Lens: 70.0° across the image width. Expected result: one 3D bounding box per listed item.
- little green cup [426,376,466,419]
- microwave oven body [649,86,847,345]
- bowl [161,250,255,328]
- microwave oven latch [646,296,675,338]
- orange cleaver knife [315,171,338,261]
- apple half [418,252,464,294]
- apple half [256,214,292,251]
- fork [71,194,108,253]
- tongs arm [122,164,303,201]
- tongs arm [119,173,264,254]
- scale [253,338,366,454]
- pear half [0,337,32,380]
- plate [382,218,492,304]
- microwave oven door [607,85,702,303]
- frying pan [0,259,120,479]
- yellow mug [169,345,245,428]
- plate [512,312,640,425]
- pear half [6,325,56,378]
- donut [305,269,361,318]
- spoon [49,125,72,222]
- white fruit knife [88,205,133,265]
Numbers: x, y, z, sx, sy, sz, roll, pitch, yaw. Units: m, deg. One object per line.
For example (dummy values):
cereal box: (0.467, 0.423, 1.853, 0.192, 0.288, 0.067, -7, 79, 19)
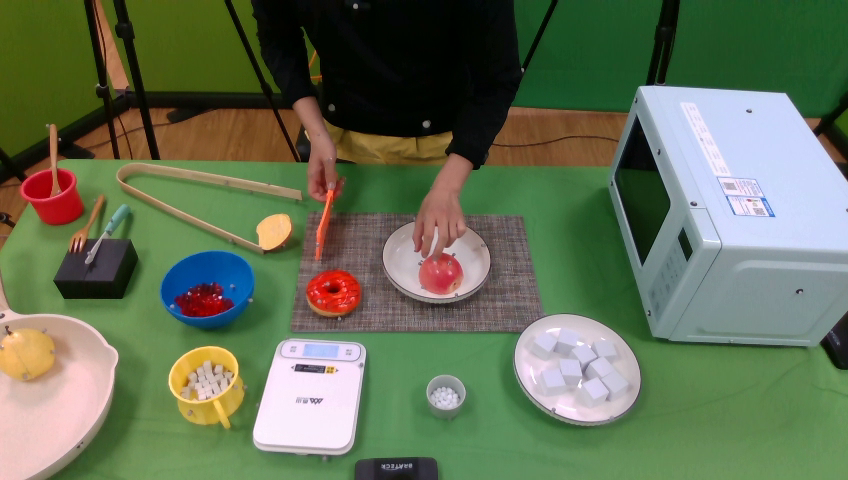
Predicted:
little green cup: (0.033, 0.248, 0.950, 0.061, 0.039, 0.061, 2, 46, -2)
microwave oven body: (0.568, -0.053, 1.118, 0.326, 0.261, 0.439, 2, 45, -1)
bowl: (-0.362, 0.098, 1.039, 0.151, 0.077, 0.150, 2, 45, -2)
microwave oven latch: (0.412, 0.134, 1.061, 0.030, 0.029, 0.078, 4, 45, 1)
orange cleaver knife: (-0.192, -0.051, 1.190, 0.012, 0.077, 0.210, 9, 46, -3)
apple half: (0.033, 0.055, 1.109, 0.081, 0.053, 0.074, -28, 57, -28)
apple half: (-0.285, -0.011, 1.176, 0.081, 0.033, 0.081, -10, 60, 18)
fork: (-0.634, -0.036, 1.158, 0.028, 0.019, 0.206, -8, 31, -8)
tongs arm: (-0.444, -0.113, 1.268, 0.384, 0.026, 0.050, 12, 50, 8)
tongs arm: (-0.474, -0.054, 1.213, 0.386, 0.028, 0.028, 23, 56, 18)
scale: (-0.175, 0.236, 0.951, 0.149, 0.032, 0.199, 4, 45, -1)
pear half: (-0.631, 0.184, 0.921, 0.070, 0.088, 0.031, 29, 49, 19)
plate: (0.023, 0.042, 1.143, 0.209, 0.038, 0.208, 2, 46, -2)
microwave oven door: (0.423, -0.094, 1.140, 0.039, 0.245, 0.353, 2, 46, -1)
frying pan: (-0.647, 0.164, 0.936, 0.307, 0.103, 0.485, -19, 58, -22)
yellow mug: (-0.322, 0.230, 0.922, 0.100, 0.064, 0.130, -24, 53, -25)
plate: (0.246, 0.213, 0.999, 0.208, 0.039, 0.206, 2, 46, -2)
pear half: (-0.608, 0.158, 0.935, 0.076, 0.110, 0.056, 31, 51, 20)
donut: (-0.161, 0.094, 1.075, 0.099, 0.048, 0.098, 4, 45, -3)
spoon: (-0.718, -0.131, 1.189, 0.041, 0.021, 0.193, -4, 90, -7)
white fruit knife: (-0.584, -0.013, 1.129, 0.016, 0.027, 0.206, -1, 32, -4)
